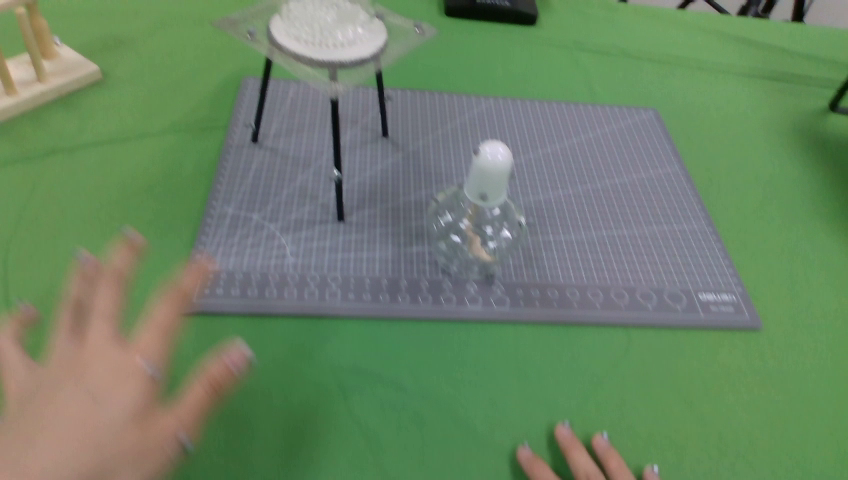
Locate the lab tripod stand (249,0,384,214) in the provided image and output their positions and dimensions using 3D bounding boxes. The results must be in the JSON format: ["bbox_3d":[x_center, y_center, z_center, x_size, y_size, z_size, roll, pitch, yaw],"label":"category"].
[{"bbox_3d":[-0.081,-0.117,0.499,0.149,0.132,0.147,6,49,-7],"label":"lab tripod stand"}]

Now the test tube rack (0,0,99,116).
[{"bbox_3d":[-0.410,-0.141,0.501,0.066,0.086,0.242,33,51,18],"label":"test tube rack"}]

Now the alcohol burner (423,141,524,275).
[{"bbox_3d":[0.041,-0.029,0.456,0.078,0.120,0.077,6,47,-6],"label":"alcohol burner"}]

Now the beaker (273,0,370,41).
[{"bbox_3d":[-0.073,-0.197,0.418,0.073,0.101,0.084,40,56,23],"label":"beaker"}]

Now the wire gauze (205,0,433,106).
[{"bbox_3d":[-0.075,-0.160,0.451,0.124,0.011,0.121,35,55,15],"label":"wire gauze"}]

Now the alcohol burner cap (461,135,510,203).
[{"bbox_3d":[0.045,-0.052,0.428,0.034,0.048,0.033,3,53,-4],"label":"alcohol burner cap"}]
